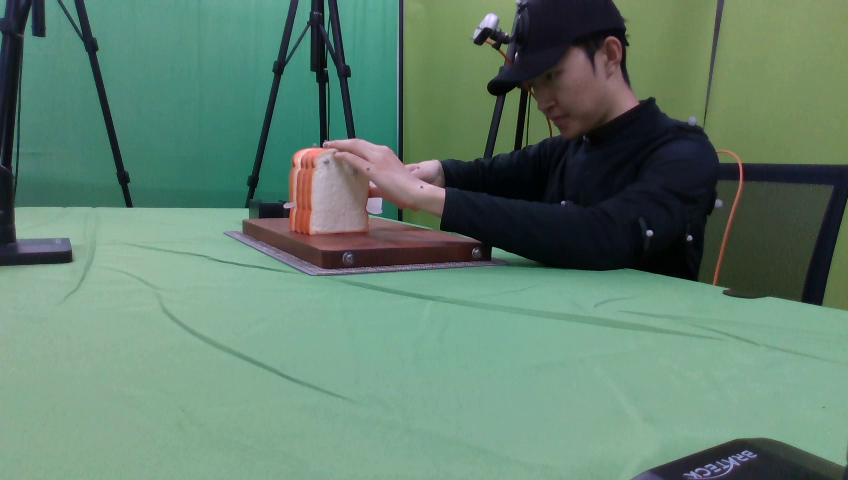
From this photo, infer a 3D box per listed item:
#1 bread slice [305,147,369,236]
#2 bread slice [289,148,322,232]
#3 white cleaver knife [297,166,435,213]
[{"bbox_3d":[-0.132,-0.073,0.915,0.107,0.134,0.018,-8,15,-37],"label":"bread slice"},{"bbox_3d":[-0.167,-0.080,0.959,0.105,0.131,0.019,-2,2,-44],"label":"bread slice"},{"bbox_3d":[-0.091,-0.079,1.021,0.288,0.066,0.021,3,5,-42],"label":"white cleaver knife"}]
